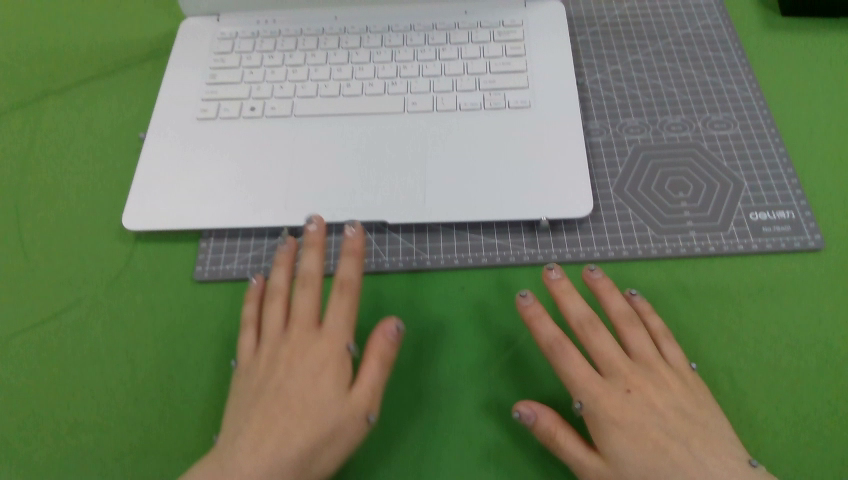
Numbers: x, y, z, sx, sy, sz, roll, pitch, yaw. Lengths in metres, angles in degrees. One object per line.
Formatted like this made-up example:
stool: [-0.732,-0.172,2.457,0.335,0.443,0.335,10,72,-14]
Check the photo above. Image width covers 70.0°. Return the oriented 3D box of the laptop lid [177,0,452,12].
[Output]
laptop lid: [-0.058,-0.289,0.471,0.356,0.244,0.013,-3,50,4]

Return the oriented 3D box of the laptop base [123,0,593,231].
laptop base: [-0.052,-0.111,0.505,0.354,0.023,0.233,-2,63,3]
